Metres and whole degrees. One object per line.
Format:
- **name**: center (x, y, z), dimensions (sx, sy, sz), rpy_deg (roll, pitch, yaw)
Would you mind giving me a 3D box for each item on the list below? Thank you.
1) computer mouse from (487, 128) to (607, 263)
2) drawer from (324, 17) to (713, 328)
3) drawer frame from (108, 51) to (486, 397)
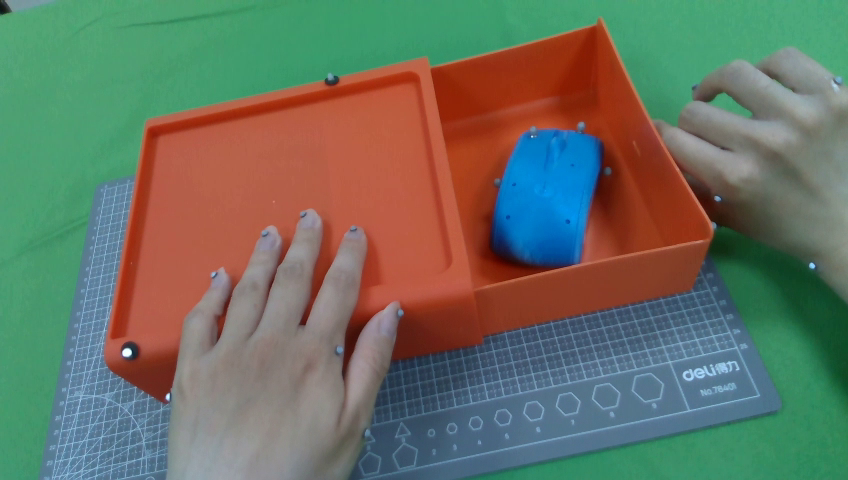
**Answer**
- **computer mouse**: center (0.085, -0.037, 0.411), dimensions (0.062, 0.041, 0.116), rpy_deg (9, 53, 20)
- **drawer**: center (0.046, -0.043, 0.405), dimensions (0.212, 0.074, 0.192), rpy_deg (-12, 56, 2)
- **drawer frame**: center (-0.079, -0.015, 0.411), dimensions (0.213, 0.083, 0.199), rpy_deg (-12, 57, 4)
